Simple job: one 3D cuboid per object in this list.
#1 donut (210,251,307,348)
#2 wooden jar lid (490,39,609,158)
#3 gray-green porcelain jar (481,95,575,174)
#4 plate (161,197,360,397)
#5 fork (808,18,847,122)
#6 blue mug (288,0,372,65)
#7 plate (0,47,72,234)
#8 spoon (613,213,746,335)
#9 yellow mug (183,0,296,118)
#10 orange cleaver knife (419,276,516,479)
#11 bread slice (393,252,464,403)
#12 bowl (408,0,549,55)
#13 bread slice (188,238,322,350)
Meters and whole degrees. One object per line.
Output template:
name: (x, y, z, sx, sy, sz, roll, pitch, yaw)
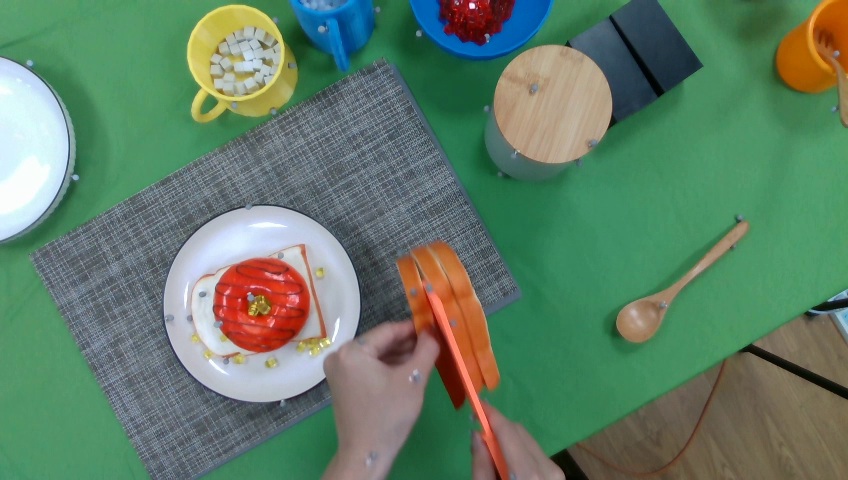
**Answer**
donut: (-0.168, 0.061, 0.620, 0.099, 0.048, 0.099, 0, 89, -4)
wooden jar lid: (0.113, -0.128, 0.554, 0.108, 0.020, 0.108, 0, 90, -4)
gray-green porcelain jar: (0.114, -0.125, 0.616, 0.106, 0.126, 0.105, 0, 88, -1)
plate: (-0.171, 0.060, 0.648, 0.209, 0.038, 0.209, 0, 88, 0)
fork: (0.410, -0.176, 0.609, 0.028, 0.019, 0.206, 33, 44, -6)
blue mug: (-0.097, -0.241, 0.628, 0.082, 0.106, 0.116, -9, 88, -1)
plate: (-0.480, -0.105, 0.653, 0.208, 0.039, 0.207, 0, 88, -1)
spoon: (0.284, 0.035, 0.665, 0.194, 0.022, 0.041, -41, 71, -1)
yellow mug: (-0.203, -0.182, 0.644, 0.100, 0.064, 0.131, 39, 89, 2)
orange cleaver knife: (0.039, 0.130, 0.528, 0.012, 0.077, 0.211, -23, 92, -7)
bread slice: (0.003, 0.076, 0.588, 0.018, 0.106, 0.135, -23, 105, -2)
bowl: (0.055, -0.262, 0.644, 0.151, 0.077, 0.151, 0, 89, 0)
bread slice: (-0.184, 0.065, 0.651, 0.131, 0.019, 0.104, -16, 87, -5)
